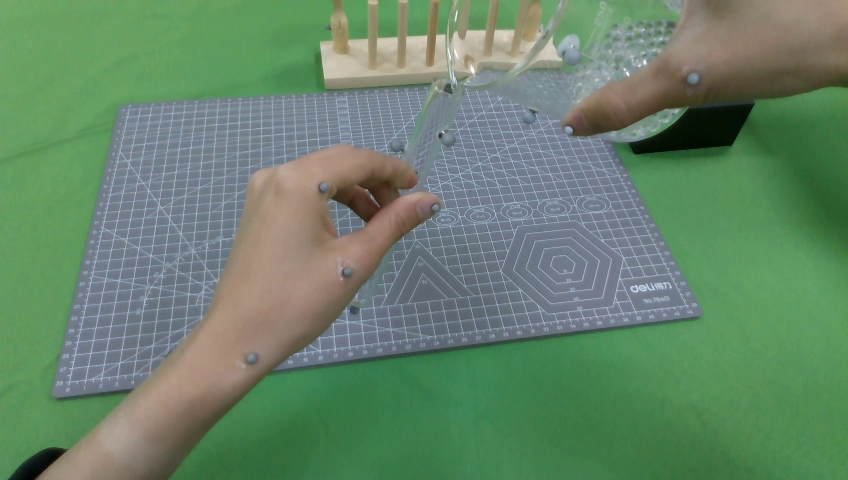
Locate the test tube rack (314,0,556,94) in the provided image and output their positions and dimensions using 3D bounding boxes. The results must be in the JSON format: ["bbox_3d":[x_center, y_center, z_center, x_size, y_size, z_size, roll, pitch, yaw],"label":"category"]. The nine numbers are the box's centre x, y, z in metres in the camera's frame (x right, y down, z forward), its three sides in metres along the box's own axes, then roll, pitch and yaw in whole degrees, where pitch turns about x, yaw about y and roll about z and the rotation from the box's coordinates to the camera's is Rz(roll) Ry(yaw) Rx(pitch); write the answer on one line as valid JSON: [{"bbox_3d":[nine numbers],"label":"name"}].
[{"bbox_3d":[0.015,-0.210,0.609,0.243,0.086,0.066,-6,51,-8],"label":"test tube rack"}]

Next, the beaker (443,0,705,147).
[{"bbox_3d":[0.068,-0.085,0.273,0.101,0.084,0.073,11,42,-34],"label":"beaker"}]

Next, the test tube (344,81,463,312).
[{"bbox_3d":[-0.015,-0.014,0.314,0.017,0.151,0.017,16,38,-13],"label":"test tube"}]
